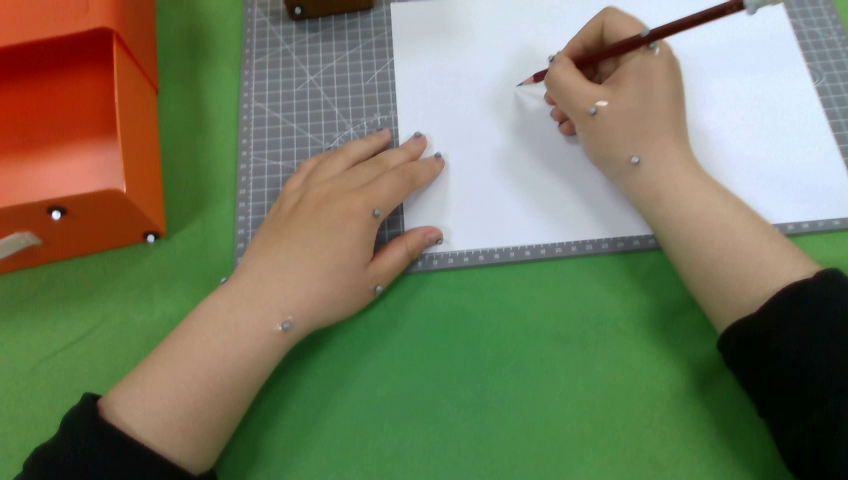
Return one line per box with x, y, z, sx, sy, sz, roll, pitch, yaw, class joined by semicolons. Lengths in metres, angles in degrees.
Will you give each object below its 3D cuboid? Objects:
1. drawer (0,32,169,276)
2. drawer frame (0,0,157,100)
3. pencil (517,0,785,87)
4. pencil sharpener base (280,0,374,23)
-0.285;-0.081;0.402;0.194;0.074;0.210;-13;67;-3;drawer
-0.312;-0.187;0.446;0.202;0.083;0.211;-13;67;-3;drawer frame
0.121;-0.115;0.355;0.012;0.193;0.012;2;87;-34;pencil
-0.082;-0.217;0.433;0.077;0.108;0.061;-11;67;-2;pencil sharpener base
